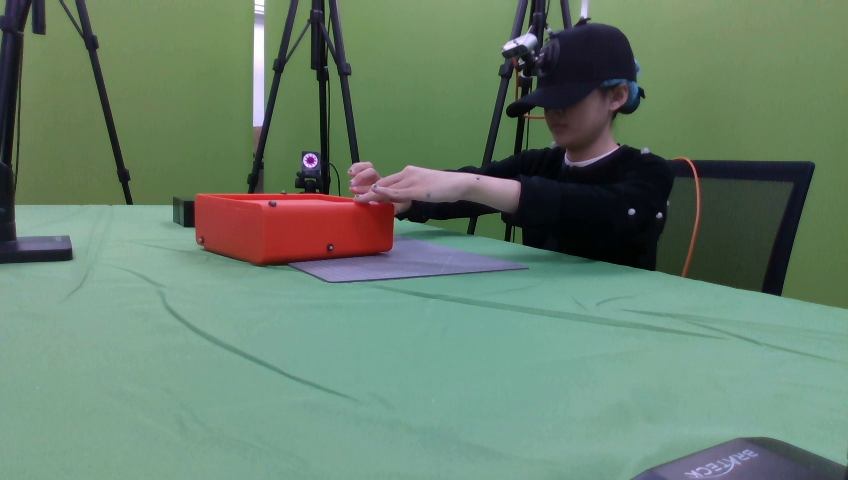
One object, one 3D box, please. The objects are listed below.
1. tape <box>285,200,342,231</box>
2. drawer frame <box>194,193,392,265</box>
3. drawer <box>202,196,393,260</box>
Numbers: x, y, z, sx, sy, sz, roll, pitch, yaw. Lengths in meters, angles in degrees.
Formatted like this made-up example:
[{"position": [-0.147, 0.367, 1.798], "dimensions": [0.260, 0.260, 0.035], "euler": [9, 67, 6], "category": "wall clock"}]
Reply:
[{"position": [-0.223, -0.051, 1.221], "dimensions": [0.117, 0.052, 0.117], "euler": [3, 7, 0], "category": "tape"}, {"position": [-0.190, -0.024, 0.882], "dimensions": [0.215, 0.082, 0.200], "euler": [-5, 11, -44], "category": "drawer frame"}, {"position": [-0.185, -0.023, 0.886], "dimensions": [0.213, 0.073, 0.193], "euler": [-5, 11, -43], "category": "drawer"}]
